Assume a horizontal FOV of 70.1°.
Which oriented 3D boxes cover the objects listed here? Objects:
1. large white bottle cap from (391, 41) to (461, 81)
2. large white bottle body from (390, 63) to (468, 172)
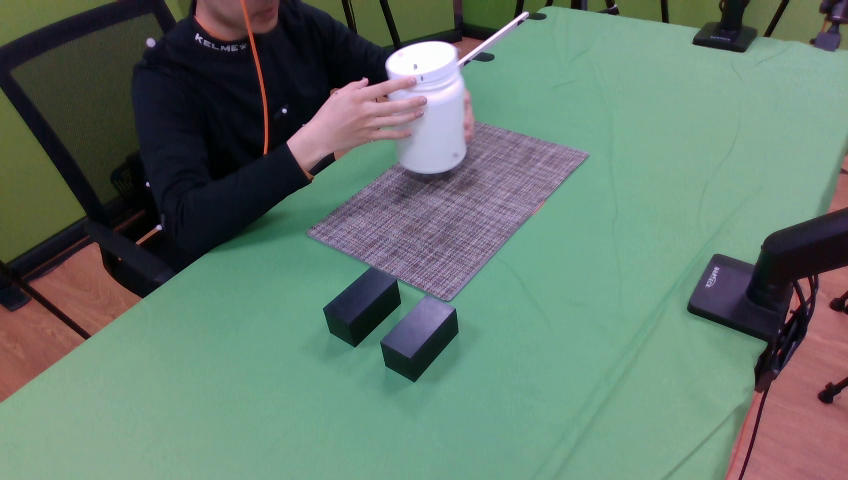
[{"bbox_3d":[0.003,-0.292,0.983,0.115,0.018,0.114,-7,40,6],"label":"large white bottle cap"},{"bbox_3d":[0.010,-0.225,1.042,0.130,0.185,0.130,-2,43,2],"label":"large white bottle body"}]
